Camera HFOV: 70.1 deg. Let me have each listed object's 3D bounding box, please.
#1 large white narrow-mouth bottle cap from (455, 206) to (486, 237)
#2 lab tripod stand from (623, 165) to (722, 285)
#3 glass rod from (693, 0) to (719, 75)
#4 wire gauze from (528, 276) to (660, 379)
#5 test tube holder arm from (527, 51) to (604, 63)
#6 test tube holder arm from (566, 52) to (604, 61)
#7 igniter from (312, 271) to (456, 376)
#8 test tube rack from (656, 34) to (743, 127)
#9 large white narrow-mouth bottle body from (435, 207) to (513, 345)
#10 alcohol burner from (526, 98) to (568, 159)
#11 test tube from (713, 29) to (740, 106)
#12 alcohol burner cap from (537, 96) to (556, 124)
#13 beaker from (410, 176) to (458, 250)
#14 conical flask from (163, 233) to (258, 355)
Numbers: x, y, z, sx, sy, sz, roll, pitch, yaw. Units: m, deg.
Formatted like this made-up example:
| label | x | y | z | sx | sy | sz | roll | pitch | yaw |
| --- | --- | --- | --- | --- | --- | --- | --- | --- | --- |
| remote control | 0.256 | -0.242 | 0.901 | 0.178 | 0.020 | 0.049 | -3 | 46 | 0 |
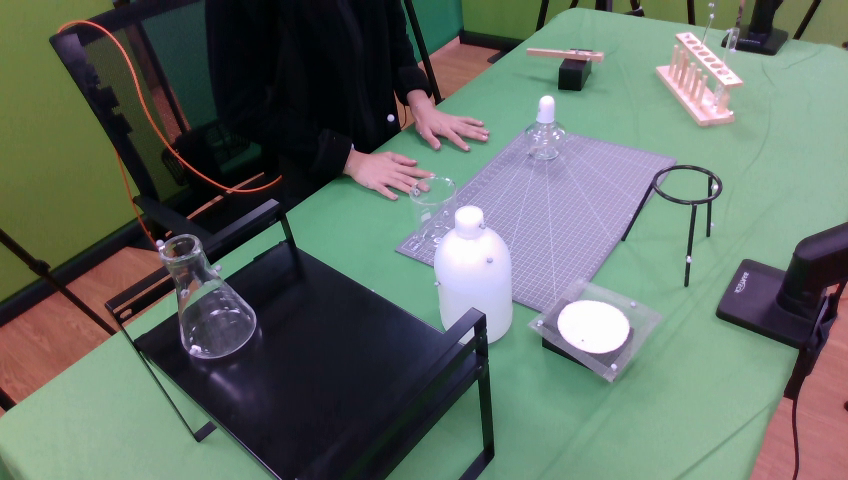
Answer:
| label | x | y | z | sx | sy | sz | roll | pitch | yaw |
| --- | --- | --- | --- | --- | --- | --- | --- | --- | --- |
| large white narrow-mouth bottle cap | 0.057 | -0.023 | 0.734 | 0.038 | 0.024 | 0.037 | -4 | 40 | 4 |
| lab tripod stand | 0.365 | -0.030 | 0.875 | 0.148 | 0.132 | 0.147 | -6 | 41 | 6 |
| glass rod | 0.561 | -0.402 | 1.214 | 0.008 | 0.200 | 0.008 | -1 | 49 | 2 |
| wire gauze | 0.214 | 0.103 | 0.763 | 0.124 | 0.011 | 0.122 | 30 | 52 | 35 |
| test tube holder arm | 0.311 | -0.408 | 1.344 | 0.177 | 0.015 | 0.013 | 14 | 37 | 30 |
| test tube holder arm | 0.352 | -0.401 | 1.325 | 0.087 | 0.015 | 0.010 | 15 | 38 | 31 |
| igniter | -0.068 | 0.111 | 0.859 | 0.274 | 0.025 | 0.057 | 27 | 61 | 34 |
| test tube rack | 0.553 | -0.330 | 1.233 | 0.067 | 0.085 | 0.241 | -7 | 40 | 2 |
| large white narrow-mouth bottle body | 0.065 | 0.041 | 0.791 | 0.102 | 0.195 | 0.101 | -4 | 41 | 4 |
| alcohol burner | 0.228 | -0.210 | 1.118 | 0.078 | 0.119 | 0.077 | -5 | 43 | 5 |
| test tube | 0.572 | -0.324 | 1.147 | 0.017 | 0.151 | 0.017 | -2 | 38 | 2 |
| alcohol burner cap | 0.223 | -0.238 | 1.095 | 0.034 | 0.048 | 0.033 | -2 | 37 | 2 |
| beaker | 0.022 | -0.041 | 0.964 | 0.073 | 0.101 | 0.084 | 28 | 51 | 35 |
| conical flask | -0.217 | 0.051 | 0.601 | 0.075 | 0.122 | 0.075 | -4 | 40 | 4 |
